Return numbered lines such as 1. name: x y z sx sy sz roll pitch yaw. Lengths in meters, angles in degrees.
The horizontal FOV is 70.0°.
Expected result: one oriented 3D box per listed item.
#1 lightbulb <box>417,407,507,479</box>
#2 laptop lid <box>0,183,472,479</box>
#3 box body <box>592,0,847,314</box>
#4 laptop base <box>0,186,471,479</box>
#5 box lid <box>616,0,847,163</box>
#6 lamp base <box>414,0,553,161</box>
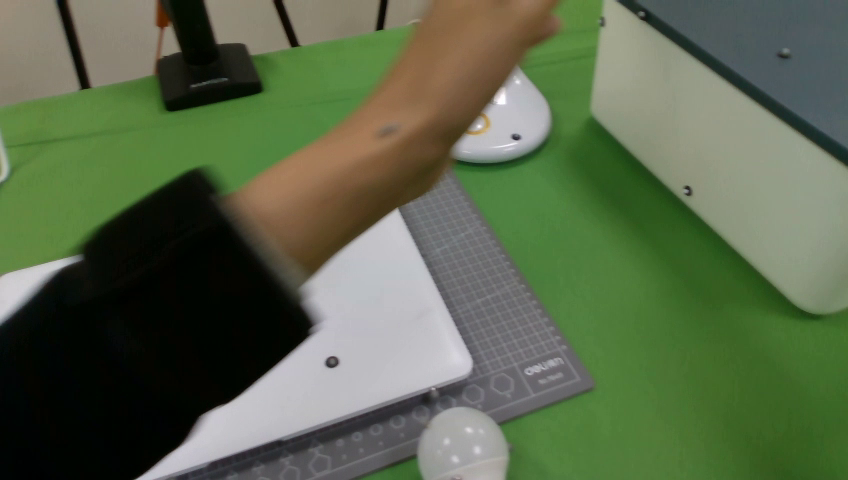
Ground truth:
1. lightbulb: 0.031 0.161 0.390 0.059 0.060 0.106 -12 62 -11
2. laptop lid: -0.164 0.066 0.491 0.357 0.013 0.239 -14 49 -12
3. box body: 0.362 -0.126 0.587 0.254 0.162 0.359 -17 48 -15
4. laptop base: -0.165 0.072 0.501 0.355 0.023 0.233 -15 51 -14
5. box lid: 0.360 -0.180 0.534 0.264 0.015 0.367 -16 48 -16
6. lamp base: 0.070 -0.206 0.657 0.160 0.182 0.178 9 44 10
